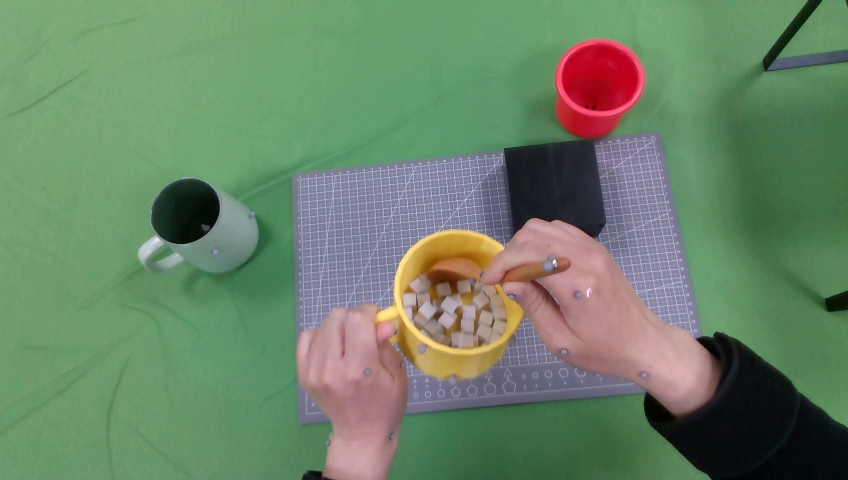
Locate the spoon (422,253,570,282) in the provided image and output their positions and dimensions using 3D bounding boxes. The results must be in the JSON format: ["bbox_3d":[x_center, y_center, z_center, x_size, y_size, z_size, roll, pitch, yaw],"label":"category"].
[{"bbox_3d":[0.044,0.020,0.410,0.042,0.193,0.021,8,86,-19],"label":"spoon"}]

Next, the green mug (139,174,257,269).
[{"bbox_3d":[-0.261,-0.010,0.687,0.125,0.105,0.092,-37,75,-6],"label":"green mug"}]

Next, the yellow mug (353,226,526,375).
[{"bbox_3d":[0.009,0.052,0.464,0.131,0.064,0.099,-17,66,-14],"label":"yellow mug"}]
